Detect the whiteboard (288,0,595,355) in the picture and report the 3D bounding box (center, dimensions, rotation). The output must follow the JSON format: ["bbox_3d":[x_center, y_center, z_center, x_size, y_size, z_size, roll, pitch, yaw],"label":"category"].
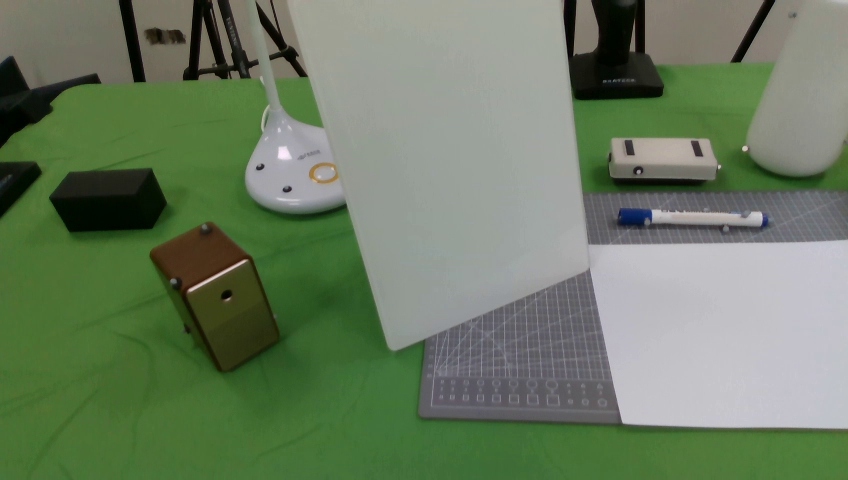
[{"bbox_3d":[0.012,-0.092,0.558,0.217,0.307,0.142,-20,24,-15],"label":"whiteboard"}]

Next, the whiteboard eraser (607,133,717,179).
[{"bbox_3d":[0.269,-0.095,0.691,0.112,0.042,0.055,1,40,8],"label":"whiteboard eraser"}]

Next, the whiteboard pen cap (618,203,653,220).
[{"bbox_3d":[0.222,-0.029,0.637,0.033,0.018,0.018,4,42,6],"label":"whiteboard pen cap"}]

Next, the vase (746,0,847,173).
[{"bbox_3d":[0.418,-0.171,0.643,0.098,0.202,0.097,-2,42,2],"label":"vase"}]

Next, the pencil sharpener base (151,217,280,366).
[{"bbox_3d":[-0.181,0.045,0.531,0.061,0.108,0.076,-33,48,-27],"label":"pencil sharpener base"}]

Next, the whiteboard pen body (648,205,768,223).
[{"bbox_3d":[0.281,-0.027,0.629,0.140,0.017,0.017,2,42,8],"label":"whiteboard pen body"}]

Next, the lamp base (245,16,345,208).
[{"bbox_3d":[-0.151,-0.154,0.696,0.160,0.182,0.177,-35,47,-29],"label":"lamp base"}]

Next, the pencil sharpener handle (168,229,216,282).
[{"bbox_3d":[-0.214,0.011,0.554,0.036,0.068,0.030,-39,50,-21],"label":"pencil sharpener handle"}]
